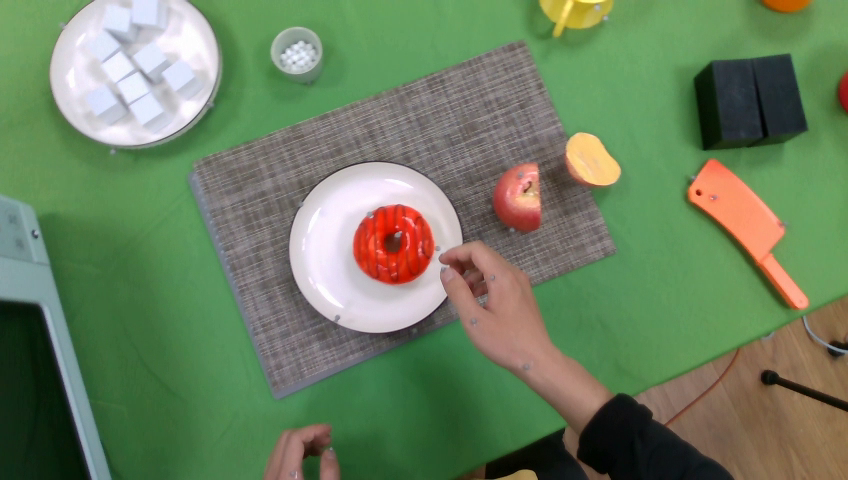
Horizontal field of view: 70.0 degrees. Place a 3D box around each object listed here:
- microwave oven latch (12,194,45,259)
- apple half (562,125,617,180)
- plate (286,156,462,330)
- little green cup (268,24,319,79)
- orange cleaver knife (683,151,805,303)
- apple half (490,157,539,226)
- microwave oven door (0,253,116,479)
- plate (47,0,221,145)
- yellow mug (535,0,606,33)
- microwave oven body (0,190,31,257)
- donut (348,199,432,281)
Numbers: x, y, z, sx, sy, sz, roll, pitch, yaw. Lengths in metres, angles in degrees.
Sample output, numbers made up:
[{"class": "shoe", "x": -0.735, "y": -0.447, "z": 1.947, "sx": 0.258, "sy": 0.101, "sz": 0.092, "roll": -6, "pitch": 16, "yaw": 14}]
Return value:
[{"class": "microwave oven latch", "x": -0.471, "y": -0.012, "z": 0.706, "sx": 0.030, "sy": 0.029, "sz": 0.079, "roll": -19, "pitch": 84, "yaw": -4}, {"class": "apple half", "x": 0.195, "y": -0.100, "z": 0.746, "sx": 0.082, "sy": 0.033, "sz": 0.080, "roll": 15, "pitch": 55, "yaw": -22}, {"class": "plate", "x": -0.059, "y": 0.003, "z": 0.727, "sx": 0.209, "sy": 0.038, "sz": 0.208, "roll": 0, "pitch": 82, "yaw": -1}, {"class": "little green cup", "x": -0.161, "y": -0.233, "z": 0.761, "sx": 0.061, "sy": 0.039, "sz": 0.061, "roll": 0, "pitch": 82, "yaw": 0}, {"class": "orange cleaver knife", "x": 0.408, "y": -0.018, "z": 0.752, "sx": 0.077, "sy": 0.012, "sz": 0.210, "roll": -38, "pitch": 83, "yaw": -10}, {"class": "apple half", "x": 0.106, "y": -0.055, "z": 0.721, "sx": 0.053, "sy": 0.075, "sz": 0.080, "roll": -4, "pitch": 86, "yaw": 2}, {"class": "microwave oven door", "x": -0.394, "y": 0.176, "z": 0.579, "sx": 0.039, "sy": 0.244, "sz": 0.354, "roll": -21, "pitch": 83, "yaw": -4}, {"class": "plate", "x": -0.354, "y": -0.215, "z": 0.755, "sx": 0.208, "sy": 0.039, "sz": 0.207, "roll": 0, "pitch": 82, "yaw": -1}, {"class": "yellow mug", "x": 0.187, "y": -0.322, "z": 0.766, "sx": 0.100, "sy": 0.064, "sz": 0.130, "roll": 24, "pitch": 83, "yaw": 2}, {"class": "microwave oven body", "x": -0.546, "y": 0.188, "z": 0.580, "sx": 0.326, "sy": 0.260, "sz": 0.440, "roll": -20, "pitch": 84, "yaw": -4}, {"class": "donut", "x": -0.040, "y": 0.000, "z": 0.717, "sx": 0.099, "sy": 0.048, "sz": 0.099, "roll": 0, "pitch": 84, "yaw": -1}]
